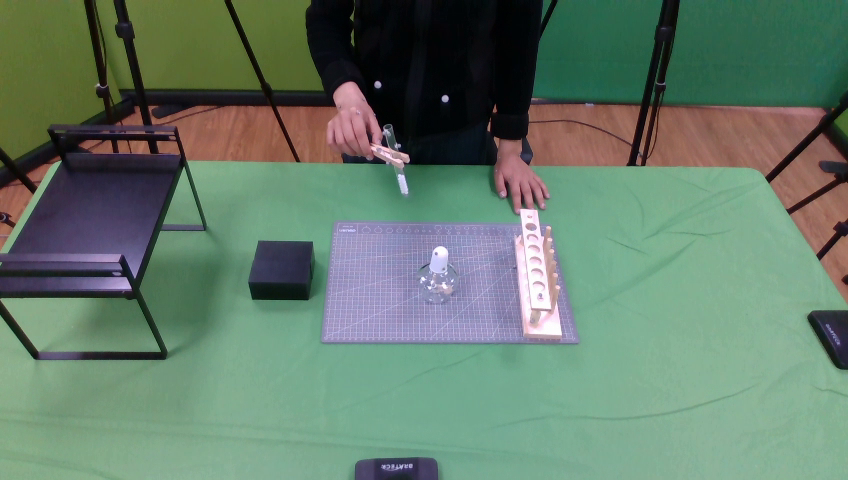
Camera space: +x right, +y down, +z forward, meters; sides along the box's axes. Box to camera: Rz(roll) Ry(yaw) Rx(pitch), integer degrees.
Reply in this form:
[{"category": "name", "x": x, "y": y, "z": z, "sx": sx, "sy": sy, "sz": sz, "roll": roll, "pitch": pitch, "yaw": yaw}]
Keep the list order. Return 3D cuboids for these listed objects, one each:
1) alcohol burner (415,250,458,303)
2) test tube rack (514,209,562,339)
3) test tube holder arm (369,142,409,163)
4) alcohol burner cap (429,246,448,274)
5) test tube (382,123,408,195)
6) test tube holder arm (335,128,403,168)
[{"category": "alcohol burner", "x": 0.024, "y": 0.057, "z": 1.078, "sx": 0.078, "sy": 0.119, "sz": 0.077, "roll": 3, "pitch": 44, "yaw": -3}, {"category": "test tube rack", "x": 0.212, "y": 0.056, "z": 1.113, "sx": 0.067, "sy": 0.085, "sz": 0.241, "roll": 3, "pitch": 46, "yaw": -1}, {"category": "test tube holder arm", "x": -0.063, "y": -0.151, "z": 1.043, "sx": 0.087, "sy": 0.015, "sz": 0.010, "roll": 22, "pitch": 54, "yaw": 30}, {"category": "alcohol burner cap", "x": 0.027, "y": 0.032, "z": 1.052, "sx": 0.034, "sy": 0.048, "sz": 0.033, "roll": 4, "pitch": 40, "yaw": -3}, {"category": "test tube", "x": -0.047, "y": -0.135, "z": 1.034, "sx": 0.017, "sy": 0.151, "sz": 0.017, "roll": -7, "pitch": 45, "yaw": 7}, {"category": "test tube holder arm", "x": -0.100, "y": -0.164, "z": 1.065, "sx": 0.177, "sy": 0.015, "sz": 0.013, "roll": 30, "pitch": 57, "yaw": 35}]
